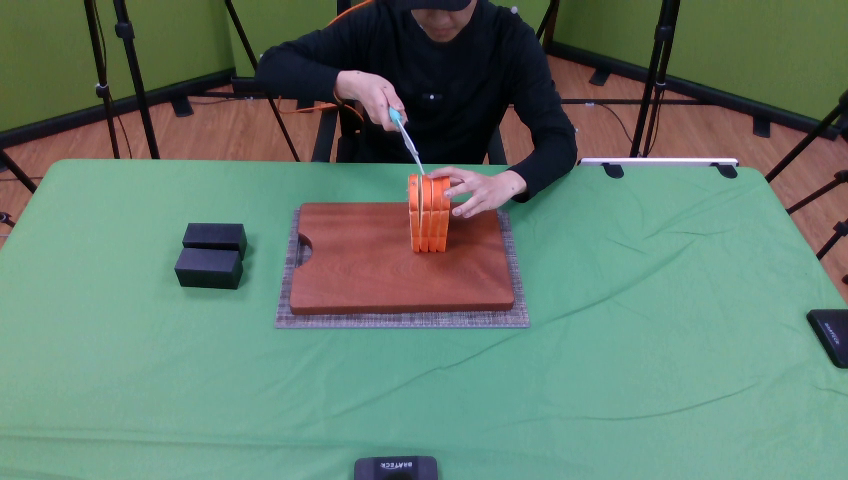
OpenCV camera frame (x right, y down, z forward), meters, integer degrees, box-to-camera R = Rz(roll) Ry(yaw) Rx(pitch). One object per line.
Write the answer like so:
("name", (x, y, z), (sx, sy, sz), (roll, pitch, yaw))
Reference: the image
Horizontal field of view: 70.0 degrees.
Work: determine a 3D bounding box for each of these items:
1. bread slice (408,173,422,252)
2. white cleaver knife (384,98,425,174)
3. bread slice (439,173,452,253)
("bread slice", (-0.017, -0.059, 1.136), (0.019, 0.132, 0.104), (-4, 44, 1))
("white cleaver knife", (-0.038, -0.192, 1.096), (0.021, 0.066, 0.284), (-19, 32, -1))
("bread slice", (0.041, -0.056, 1.136), (0.018, 0.135, 0.106), (-3, 47, -1))
